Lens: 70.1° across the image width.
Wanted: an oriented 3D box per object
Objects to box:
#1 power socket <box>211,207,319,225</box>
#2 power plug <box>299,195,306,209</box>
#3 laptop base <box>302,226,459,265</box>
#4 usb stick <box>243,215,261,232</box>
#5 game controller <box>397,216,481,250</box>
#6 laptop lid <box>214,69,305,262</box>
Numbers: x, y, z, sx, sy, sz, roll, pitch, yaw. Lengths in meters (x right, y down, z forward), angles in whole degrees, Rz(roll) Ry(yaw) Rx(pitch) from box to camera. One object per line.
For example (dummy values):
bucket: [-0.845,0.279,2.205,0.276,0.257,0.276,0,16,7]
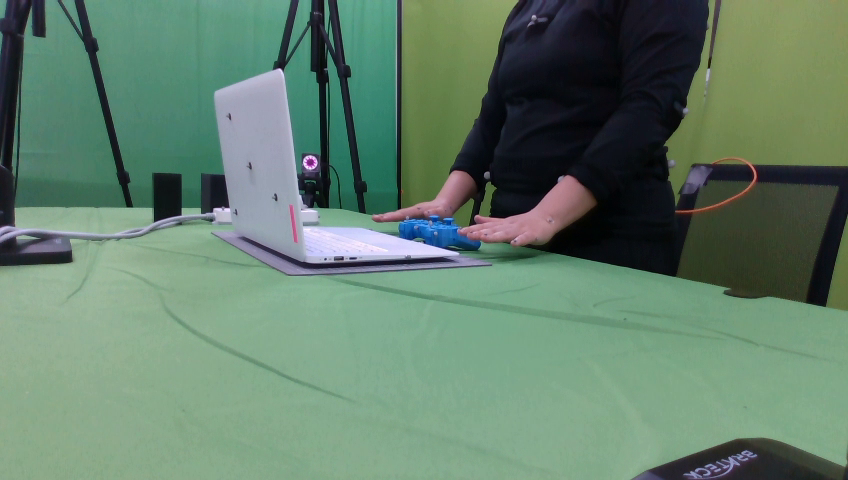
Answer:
power socket: [-0.334,-0.051,1.281,0.228,0.032,0.072,-1,9,-29]
power plug: [-0.283,-0.075,1.342,0.035,0.052,0.072,0,3,-18]
laptop base: [-0.136,0.006,0.951,0.237,0.023,0.352,2,6,-32]
usb stick: [-0.302,-0.028,1.070,0.021,0.027,0.059,-1,12,-30]
game controller: [0.020,-0.013,1.052,0.097,0.051,0.154,-4,9,-30]
laptop lid: [-0.246,-0.107,0.865,0.013,0.241,0.355,-11,14,-30]
